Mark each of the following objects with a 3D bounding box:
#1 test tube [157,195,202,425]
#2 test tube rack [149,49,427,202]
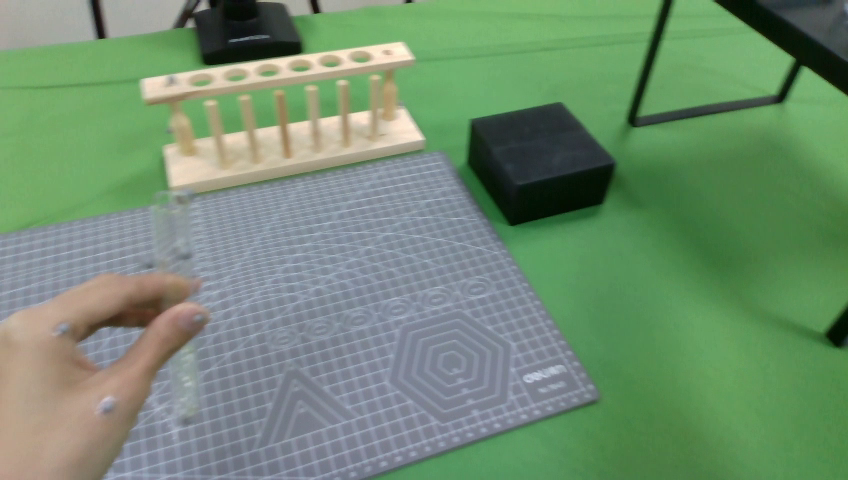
[{"bbox_3d":[-0.120,0.043,0.302,0.017,0.151,0.017,9,36,-7],"label":"test tube"},{"bbox_3d":[-0.120,-0.112,0.577,0.243,0.086,0.066,-13,48,-16],"label":"test tube rack"}]
